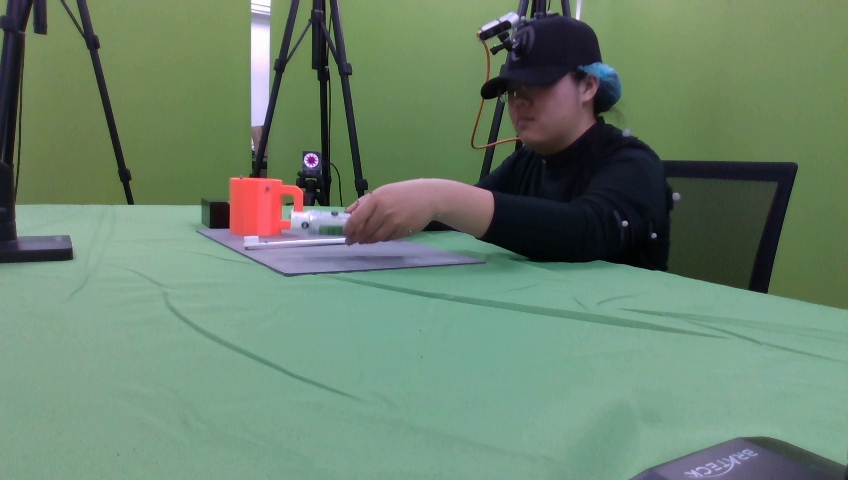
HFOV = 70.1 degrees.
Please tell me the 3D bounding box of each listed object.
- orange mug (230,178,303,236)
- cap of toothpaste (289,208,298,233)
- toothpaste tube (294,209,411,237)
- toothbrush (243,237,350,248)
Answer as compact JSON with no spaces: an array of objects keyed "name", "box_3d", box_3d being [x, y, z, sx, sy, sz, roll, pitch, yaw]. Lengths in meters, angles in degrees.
[{"name":"orange mug","box_3d":[-0.275,-0.060,1.058,0.126,0.101,0.083,-2,8,-5]},{"name":"cap of toothpaste","box_3d":[-0.180,-0.027,0.835,0.011,0.037,0.037,4,7,-12]},{"name":"toothpaste tube","box_3d":[-0.103,-0.022,0.851,0.165,0.034,0.055,4,-19,-13]},{"name":"toothbrush","box_3d":[-0.191,0.002,0.927,0.183,0.016,0.014,-2,-7,-41]}]
